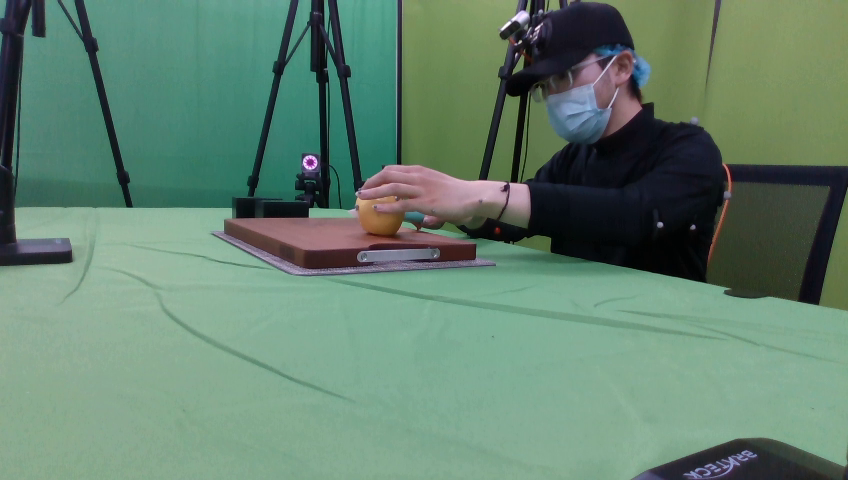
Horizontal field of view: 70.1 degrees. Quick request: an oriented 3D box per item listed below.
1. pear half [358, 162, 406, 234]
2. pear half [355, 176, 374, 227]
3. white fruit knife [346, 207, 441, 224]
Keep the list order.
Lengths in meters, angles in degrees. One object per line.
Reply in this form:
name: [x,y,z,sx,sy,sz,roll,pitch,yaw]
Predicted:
pear half: [-0.058,-0.064,0.928,0.055,0.110,0.077,8,14,40]
pear half: [-0.086,-0.057,0.956,0.031,0.088,0.071,3,11,40]
white fruit knife: [-0.044,-0.043,0.982,0.016,0.027,0.208,10,6,43]
